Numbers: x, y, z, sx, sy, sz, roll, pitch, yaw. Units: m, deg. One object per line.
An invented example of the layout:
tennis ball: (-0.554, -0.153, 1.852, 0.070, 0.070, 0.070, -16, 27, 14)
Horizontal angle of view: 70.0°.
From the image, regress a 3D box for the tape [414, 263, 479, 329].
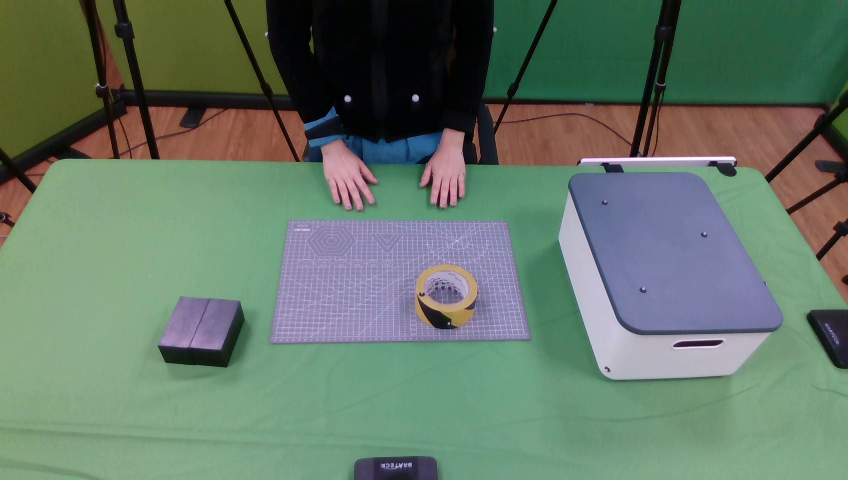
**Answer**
tape: (0.038, 0.099, 1.079, 0.117, 0.053, 0.116, 3, 46, -2)

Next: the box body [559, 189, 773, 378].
box body: (0.404, 0.057, 1.074, 0.254, 0.161, 0.361, -2, 46, -5)

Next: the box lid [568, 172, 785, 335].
box lid: (0.407, 0.007, 1.019, 0.263, 0.015, 0.369, -1, 46, -5)
